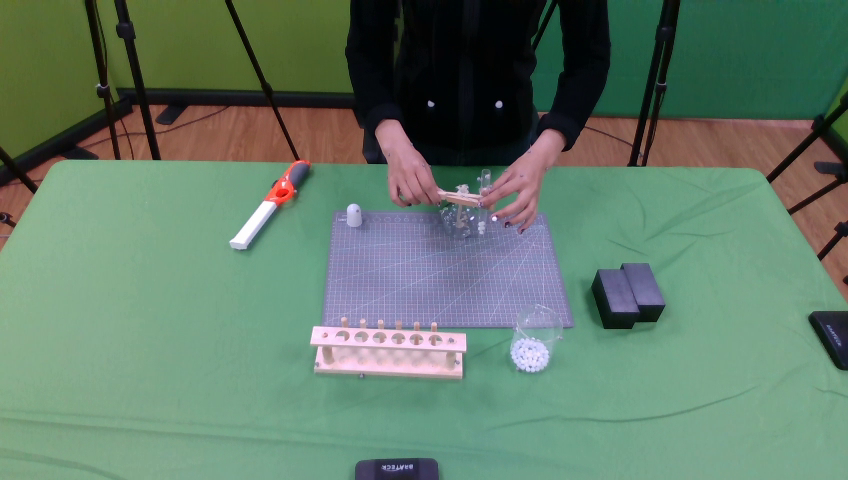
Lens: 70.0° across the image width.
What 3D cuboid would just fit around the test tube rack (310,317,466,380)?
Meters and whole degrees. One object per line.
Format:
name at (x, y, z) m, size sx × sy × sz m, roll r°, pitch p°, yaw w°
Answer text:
test tube rack at (-0.056, 0.171, 0.986) m, size 0.242 × 0.085 × 0.066 m, roll 3°, pitch 45°, yaw -1°

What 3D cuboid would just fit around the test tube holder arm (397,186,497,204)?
test tube holder arm at (0.039, -0.079, 1.070) m, size 0.178 × 0.015 × 0.013 m, roll 8°, pitch 49°, yaw 13°

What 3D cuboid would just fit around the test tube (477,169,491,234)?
test tube at (0.103, -0.064, 1.054) m, size 0.017 × 0.151 × 0.017 m, roll 0°, pitch 48°, yaw 1°

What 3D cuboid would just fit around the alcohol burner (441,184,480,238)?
alcohol burner at (0.073, -0.061, 1.195) m, size 0.078 × 0.120 × 0.077 m, roll 1°, pitch 47°, yaw 0°

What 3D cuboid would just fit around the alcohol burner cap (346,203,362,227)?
alcohol burner cap at (-0.141, -0.053, 1.222) m, size 0.034 × 0.048 × 0.033 m, roll 2°, pitch 47°, yaw -2°

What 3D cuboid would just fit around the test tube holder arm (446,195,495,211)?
test tube holder arm at (0.080, -0.067, 1.055) m, size 0.087 × 0.015 × 0.010 m, roll 15°, pitch 51°, yaw 19°

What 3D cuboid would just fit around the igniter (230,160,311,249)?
igniter at (-0.311, -0.081, 1.250) m, size 0.057 × 0.025 × 0.275 m, roll 9°, pitch 45°, yaw 18°

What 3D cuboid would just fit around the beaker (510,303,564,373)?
beaker at (0.182, 0.164, 1.000) m, size 0.074 × 0.101 × 0.083 m, roll 2°, pitch 45°, yaw -1°
